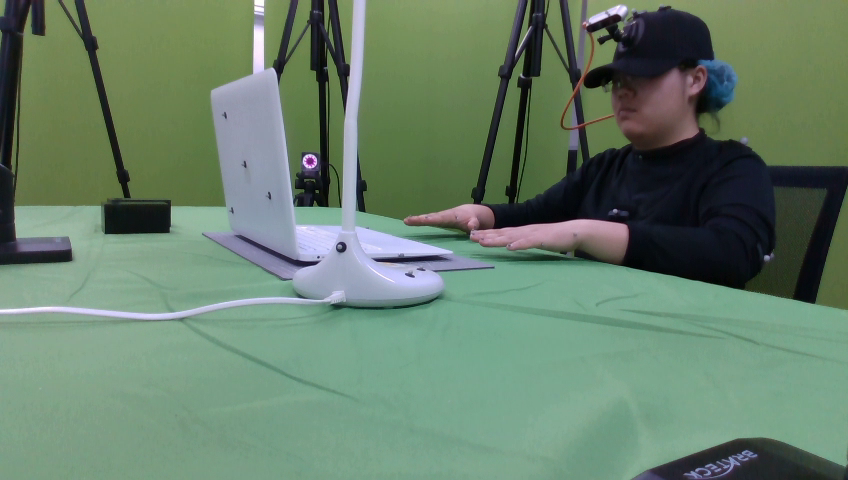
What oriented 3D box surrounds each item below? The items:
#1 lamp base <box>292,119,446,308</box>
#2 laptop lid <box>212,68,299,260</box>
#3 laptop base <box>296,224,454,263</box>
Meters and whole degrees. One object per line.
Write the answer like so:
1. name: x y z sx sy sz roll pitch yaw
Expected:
1. lamp base: -0.056 -0.030 0.616 0.160 0.180 0.179 3 10 8
2. laptop lid: -0.254 -0.111 0.872 0.013 0.241 0.355 -11 14 -30
3. laptop base: -0.143 0.003 0.957 0.237 0.023 0.352 2 6 -32
